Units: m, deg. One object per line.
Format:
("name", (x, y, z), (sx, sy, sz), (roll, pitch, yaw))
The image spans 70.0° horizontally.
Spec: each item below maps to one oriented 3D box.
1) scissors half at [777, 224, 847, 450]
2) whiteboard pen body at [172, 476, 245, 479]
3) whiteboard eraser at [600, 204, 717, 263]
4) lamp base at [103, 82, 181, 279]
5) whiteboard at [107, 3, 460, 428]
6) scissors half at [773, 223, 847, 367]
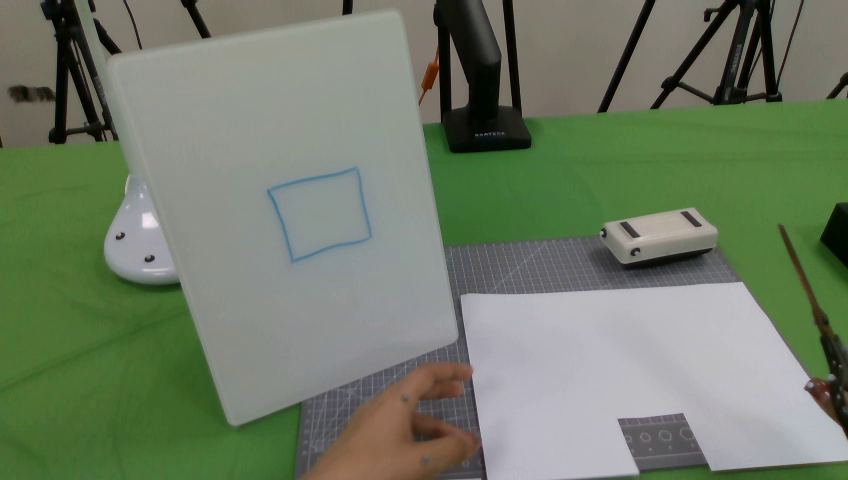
("scissors half", (0.274, 0.064, 0.421), (0.040, 0.013, 0.173), (16, 56, -28))
("whiteboard pen body", (-0.204, 0.187, 0.447), (0.141, 0.017, 0.017), (-2, 38, -4))
("whiteboard eraser", (0.256, -0.005, 0.666), (0.113, 0.042, 0.055), (-9, 40, -10))
("lamp base", (-0.295, -0.074, 0.662), (0.178, 0.182, 0.160), (22, 44, 31))
("whiteboard", (-0.114, -0.031, 0.547), (0.218, 0.307, 0.142), (-17, 21, -18))
("scissors half", (0.292, 0.066, 0.433), (0.040, 0.013, 0.174), (-6, 70, -43))
